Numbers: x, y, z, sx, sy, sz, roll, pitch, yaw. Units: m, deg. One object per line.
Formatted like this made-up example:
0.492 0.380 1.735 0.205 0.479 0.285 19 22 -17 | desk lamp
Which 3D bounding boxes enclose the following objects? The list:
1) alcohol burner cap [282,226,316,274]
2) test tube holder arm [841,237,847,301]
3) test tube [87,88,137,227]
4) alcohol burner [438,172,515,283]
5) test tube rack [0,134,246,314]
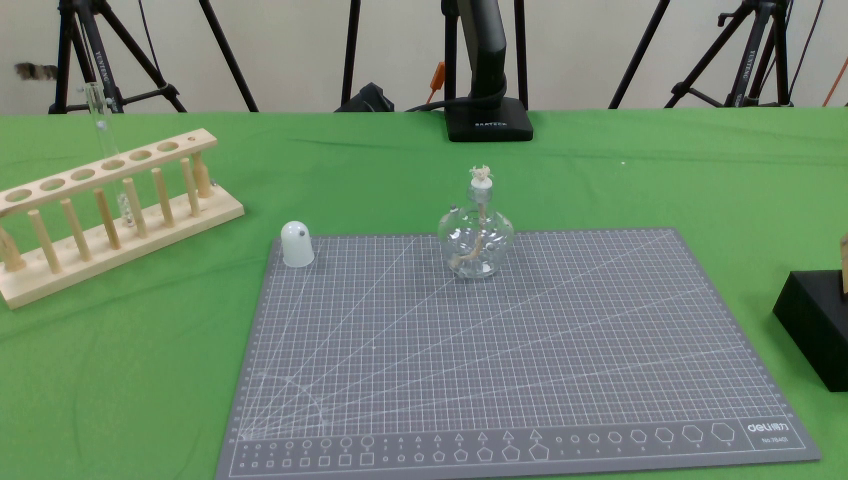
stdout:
-0.130 0.007 0.620 0.034 0.048 0.033 1 38 -1 | alcohol burner cap
0.390 0.027 0.551 0.010 0.015 0.087 18 41 18 | test tube holder arm
-0.315 -0.080 0.618 0.017 0.151 0.017 1 31 0 | test tube
0.053 -0.016 0.596 0.078 0.120 0.077 2 38 -1 | alcohol burner
-0.316 -0.025 0.627 0.242 0.086 0.066 -28 45 -33 | test tube rack
